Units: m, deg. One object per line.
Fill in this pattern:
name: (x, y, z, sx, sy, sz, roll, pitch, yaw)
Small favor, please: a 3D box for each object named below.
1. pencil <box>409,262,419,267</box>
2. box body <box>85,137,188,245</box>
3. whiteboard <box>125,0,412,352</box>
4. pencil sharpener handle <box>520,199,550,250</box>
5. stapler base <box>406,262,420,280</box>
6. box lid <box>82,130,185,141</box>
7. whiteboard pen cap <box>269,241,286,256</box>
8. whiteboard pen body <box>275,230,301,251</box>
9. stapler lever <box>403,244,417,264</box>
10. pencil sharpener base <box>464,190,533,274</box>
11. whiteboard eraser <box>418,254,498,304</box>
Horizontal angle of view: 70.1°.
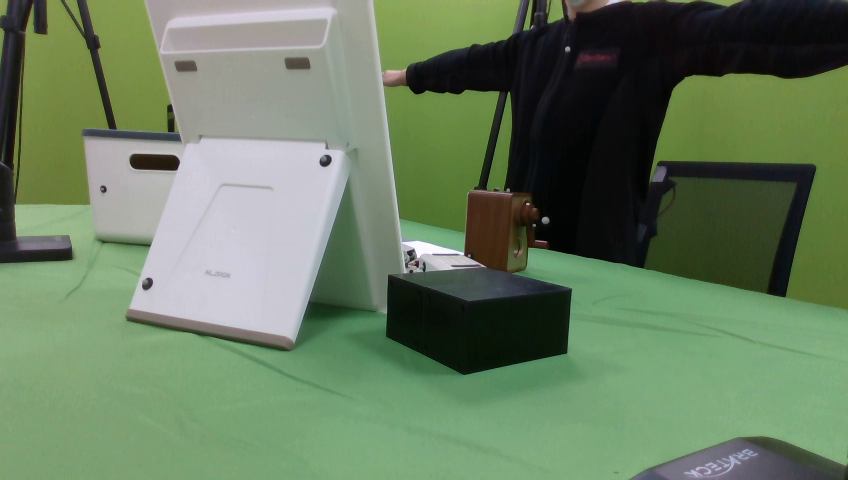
pencil: (0.042, 0.028, 0.849, 0.012, 0.012, 0.195, 10, 10, 43)
box body: (-0.340, -0.088, 1.022, 0.254, 0.160, 0.364, 4, 7, 11)
whiteboard: (-0.151, -0.050, 0.471, 0.216, 0.305, 0.144, 6, 27, 24)
pencil sharpener handle: (0.147, -0.019, 0.785, 0.030, 0.068, 0.036, 8, 25, 36)
stapler base: (-0.069, 0.027, 0.759, 0.130, 0.024, 0.041, 9, 13, 23)
box lid: (-0.337, -0.161, 1.011, 0.263, 0.015, 0.372, 4, 7, 11)
whiteboard pen cap: (-0.202, 0.012, 0.836, 0.018, 0.018, 0.033, 2, 9, -1)
whiteboard pen body: (-0.203, 0.002, 0.894, 0.017, 0.017, 0.140, 2, 9, -1)
stapler lever: (-0.066, 0.003, 0.755, 0.117, 0.040, 0.027, 9, 13, 23)
pencil sharpener base: (0.103, -0.012, 0.813, 0.076, 0.107, 0.061, 8, 9, 36)
whiteboard eraser: (0.033, 0.040, 0.631, 0.056, 0.042, 0.112, 3, 6, -15)
